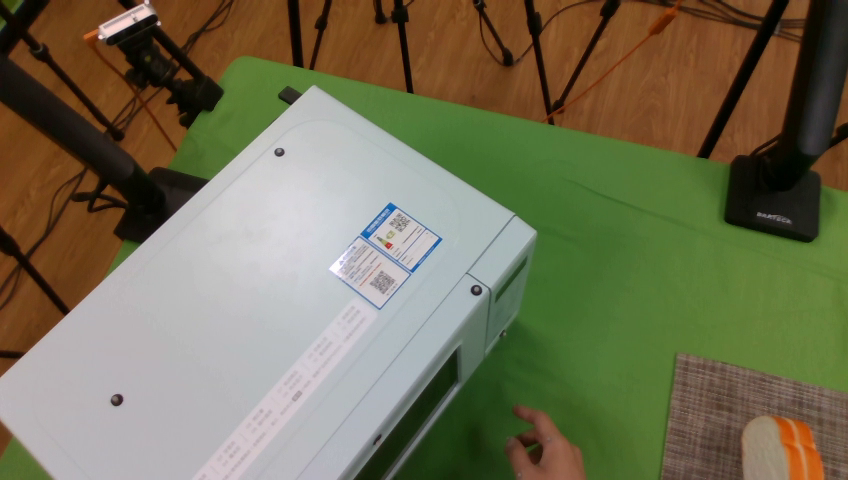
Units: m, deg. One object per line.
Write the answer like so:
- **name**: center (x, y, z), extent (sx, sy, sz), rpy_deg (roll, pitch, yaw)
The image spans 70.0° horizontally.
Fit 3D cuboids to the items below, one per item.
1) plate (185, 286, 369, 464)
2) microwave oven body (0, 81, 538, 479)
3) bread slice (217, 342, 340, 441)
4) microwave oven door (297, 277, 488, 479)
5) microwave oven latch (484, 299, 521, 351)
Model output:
- **plate**: center (-0.167, 0.156, 0.707), extent (0.208, 0.039, 0.206), rpy_deg (1, 62, -1)
- **microwave oven body**: center (-0.143, 0.106, 0.667), extent (0.324, 0.262, 0.441), rpy_deg (35, 72, 18)
- **bread slice**: center (-0.168, 0.181, 0.702), extent (0.134, 0.018, 0.106), rpy_deg (-9, 63, -12)
- **microwave oven door**: center (-0.056, 0.212, 0.605), extent (0.039, 0.246, 0.355), rpy_deg (35, 71, 19)
- **microwave oven latch**: center (0.090, 0.101, 0.763), extent (0.030, 0.030, 0.079), rpy_deg (37, 72, 18)
